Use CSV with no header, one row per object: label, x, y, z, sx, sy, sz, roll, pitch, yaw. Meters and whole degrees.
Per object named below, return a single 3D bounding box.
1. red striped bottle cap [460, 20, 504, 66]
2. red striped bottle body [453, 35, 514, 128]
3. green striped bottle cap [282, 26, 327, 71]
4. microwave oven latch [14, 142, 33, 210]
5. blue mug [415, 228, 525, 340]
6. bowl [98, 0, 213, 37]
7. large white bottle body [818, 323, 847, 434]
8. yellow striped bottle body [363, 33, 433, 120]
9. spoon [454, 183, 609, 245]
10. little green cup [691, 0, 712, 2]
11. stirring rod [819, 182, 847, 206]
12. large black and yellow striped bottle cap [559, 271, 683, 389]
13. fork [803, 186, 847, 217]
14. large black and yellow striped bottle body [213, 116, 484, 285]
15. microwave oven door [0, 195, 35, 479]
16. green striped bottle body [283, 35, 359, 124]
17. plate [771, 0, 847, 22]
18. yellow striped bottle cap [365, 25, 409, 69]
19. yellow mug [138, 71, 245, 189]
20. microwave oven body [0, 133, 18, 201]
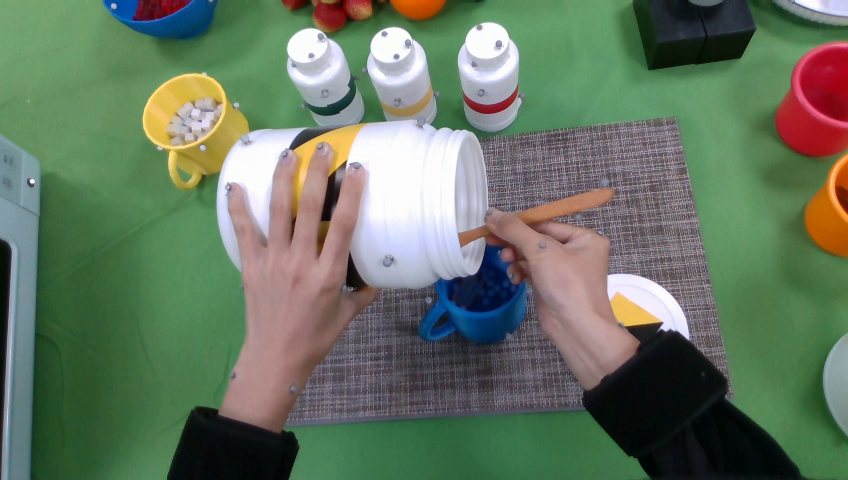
red striped bottle cap,0.057,-0.195,0.597,0.044,0.018,0.044,-1,68,4
red striped bottle body,0.065,-0.176,0.647,0.063,0.120,0.062,-3,69,7
green striped bottle cap,-0.123,-0.197,0.625,0.044,0.020,0.044,-2,69,7
microwave oven latch,-0.479,-0.073,0.710,0.030,0.030,0.078,-13,70,3
blue mug,0.040,0.053,0.570,0.116,0.106,0.081,-38,69,-7
bowl,-0.327,-0.316,0.775,0.151,0.077,0.150,-2,70,7
large white bottle body,0.410,0.101,0.462,0.130,0.186,0.129,-3,69,7
yellow striped bottle body,-0.029,-0.177,0.660,0.063,0.121,0.062,-3,69,8
spoon,0.049,-0.009,0.476,0.193,0.022,0.041,-19,61,15
little green cup,0.299,-0.286,0.643,0.061,0.039,0.061,-2,68,6
stirring rod,0.400,-0.017,0.533,0.014,0.006,0.175,-2,27,4
large black and yellow striped bottle cap,0.189,0.085,0.586,0.115,0.019,0.114,-3,69,7
fork,0.429,-0.018,0.521,0.028,0.019,0.205,-35,25,-11
large black and yellow striped bottle body,-0.052,-0.029,0.478,0.183,0.132,0.130,0,70,17
microwave oven door,-0.451,0.091,0.537,0.039,0.245,0.353,-14,69,3
green striped bottle body,-0.115,-0.179,0.673,0.063,0.120,0.063,-2,69,7
plate,0.466,-0.331,0.690,0.209,0.038,0.207,-2,70,7
yellow striped bottle cap,-0.037,-0.195,0.611,0.044,0.019,0.044,-1,67,3
yellow mug,-0.272,-0.122,0.703,0.100,0.064,0.130,4,71,10
microwave oven body,-0.600,0.089,0.564,0.326,0.262,0.438,-14,70,2
